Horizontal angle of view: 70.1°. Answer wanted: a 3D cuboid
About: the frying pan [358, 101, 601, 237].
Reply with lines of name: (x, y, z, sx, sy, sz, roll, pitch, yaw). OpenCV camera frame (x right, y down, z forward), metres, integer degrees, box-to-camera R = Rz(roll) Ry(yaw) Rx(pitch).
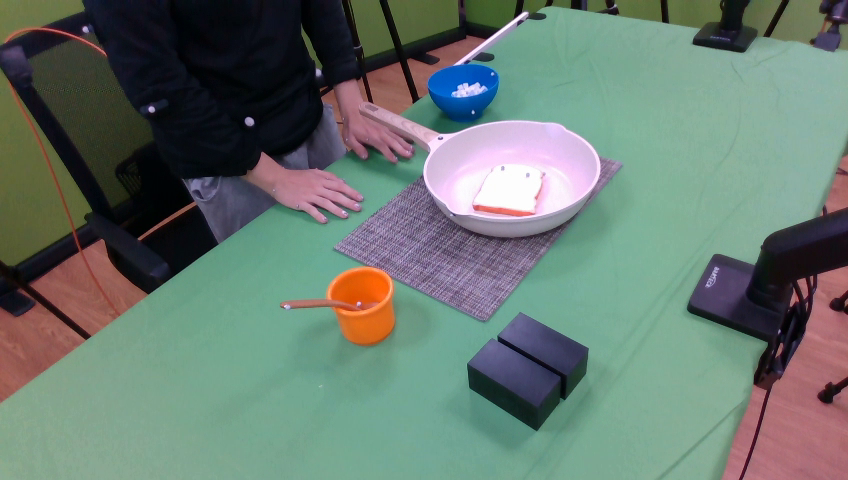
frying pan: (0.067, -0.153, 1.067, 0.484, 0.103, 0.308, 32, 52, 26)

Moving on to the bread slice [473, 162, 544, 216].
bread slice: (0.150, -0.089, 1.041, 0.106, 0.018, 0.134, 7, 44, 16)

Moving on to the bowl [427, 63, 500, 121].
bowl: (0.083, -0.301, 1.263, 0.151, 0.077, 0.150, -4, 41, 4)

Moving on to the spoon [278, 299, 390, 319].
spoon: (-0.113, 0.086, 0.787, 0.041, 0.021, 0.195, 31, 8, 36)
